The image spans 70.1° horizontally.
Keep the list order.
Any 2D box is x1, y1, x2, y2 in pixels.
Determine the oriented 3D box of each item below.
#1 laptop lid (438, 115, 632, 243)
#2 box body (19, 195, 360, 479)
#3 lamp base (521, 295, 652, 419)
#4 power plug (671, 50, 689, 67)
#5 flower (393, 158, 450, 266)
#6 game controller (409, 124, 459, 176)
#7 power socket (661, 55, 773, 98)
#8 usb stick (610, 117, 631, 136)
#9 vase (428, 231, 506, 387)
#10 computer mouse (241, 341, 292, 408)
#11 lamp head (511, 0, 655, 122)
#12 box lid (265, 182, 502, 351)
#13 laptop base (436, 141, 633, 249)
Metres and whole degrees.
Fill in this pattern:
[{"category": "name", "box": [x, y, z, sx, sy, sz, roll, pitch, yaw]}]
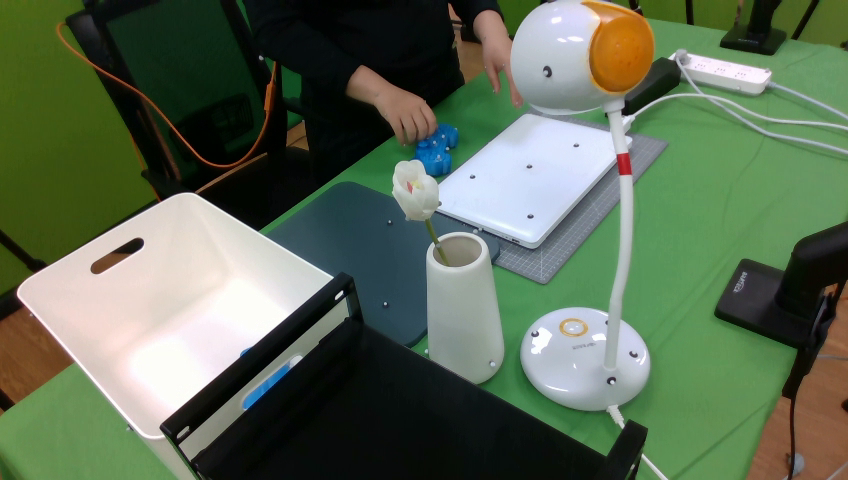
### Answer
[{"category": "laptop lid", "box": [0.189, -0.126, 1.081, 0.239, 0.013, 0.358, 23, 48, 35]}, {"category": "box body", "box": [-0.288, 0.118, 0.772, 0.361, 0.161, 0.255, 26, 50, 33]}, {"category": "lamp base", "box": [0.201, 0.095, 0.710, 0.161, 0.181, 0.178, -16, 43, -10]}, {"category": "power plug", "box": [0.540, -0.379, 1.302, 0.073, 0.053, 0.035, -31, 46, -23]}, {"category": "flower", "box": [0.028, 0.036, 0.664, 0.043, 0.364, 0.038, 36, 73, 29]}, {"category": "game controller", "box": [0.013, -0.177, 1.165, 0.097, 0.052, 0.155, 7, 42, 8]}, {"category": "power socket", "box": [0.619, -0.352, 1.289, 0.225, 0.033, 0.072, 26, 51, 33]}, {"category": "usb stick", "box": [0.369, -0.208, 1.147, 0.021, 0.027, 0.059, 25, 55, 33]}, {"category": "vase", "box": [0.050, 0.087, 0.728, 0.098, 0.201, 0.097, -3, 40, 3]}, {"category": "computer mouse", "box": [-0.201, 0.177, 0.776, 0.063, 0.041, 0.116, -11, 44, -8]}, {"category": "lamp head", "box": [0.155, -0.168, 0.563, 0.113, 0.113, 0.122, -18, 23, -12]}, {"category": "box lid", "box": [-0.087, 0.023, 0.971, 0.368, 0.015, 0.264, 23, 49, 31]}, {"category": "laptop base", "box": [0.193, -0.117, 1.087, 0.233, 0.023, 0.355, 21, 47, 34]}]
